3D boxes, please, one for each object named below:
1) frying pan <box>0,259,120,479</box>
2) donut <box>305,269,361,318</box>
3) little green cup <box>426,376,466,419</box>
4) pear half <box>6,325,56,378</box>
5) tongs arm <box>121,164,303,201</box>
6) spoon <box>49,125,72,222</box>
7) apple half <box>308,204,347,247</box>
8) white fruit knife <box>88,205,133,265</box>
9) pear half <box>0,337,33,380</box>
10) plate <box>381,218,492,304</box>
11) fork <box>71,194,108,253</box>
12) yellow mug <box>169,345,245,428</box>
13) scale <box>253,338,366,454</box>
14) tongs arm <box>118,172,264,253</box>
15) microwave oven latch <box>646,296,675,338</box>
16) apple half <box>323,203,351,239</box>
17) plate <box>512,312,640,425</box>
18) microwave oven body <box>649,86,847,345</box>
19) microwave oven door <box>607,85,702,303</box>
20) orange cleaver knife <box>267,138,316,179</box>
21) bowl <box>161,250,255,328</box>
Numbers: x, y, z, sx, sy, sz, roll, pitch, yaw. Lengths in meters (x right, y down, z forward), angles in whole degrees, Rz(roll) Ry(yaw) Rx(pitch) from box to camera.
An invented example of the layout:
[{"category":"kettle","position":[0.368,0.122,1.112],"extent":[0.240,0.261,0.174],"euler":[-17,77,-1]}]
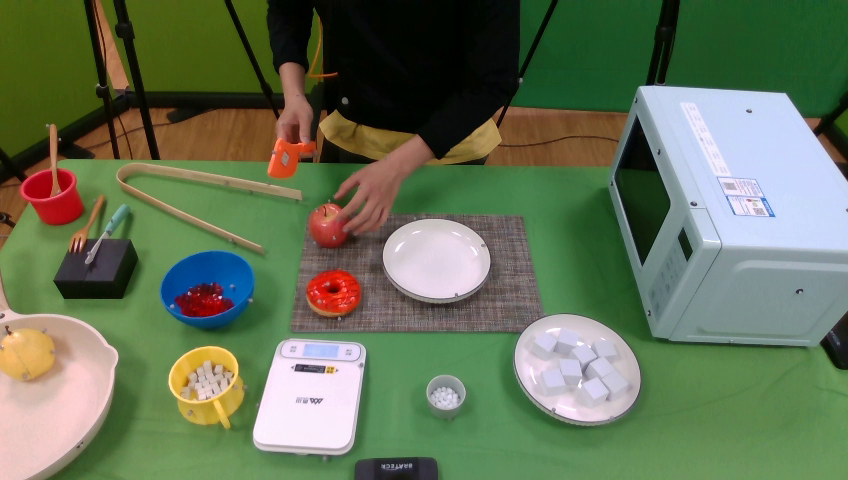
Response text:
[{"category":"frying pan","position":[-0.647,0.164,0.936],"extent":[0.307,0.103,0.485],"euler":[-19,58,-22]},{"category":"donut","position":[-0.160,0.094,1.075],"extent":[0.099,0.048,0.098],"euler":[4,45,-3]},{"category":"little green cup","position":[0.033,0.248,0.950],"extent":[0.061,0.039,0.061],"euler":[2,46,-2]},{"category":"pear half","position":[-0.608,0.158,0.935],"extent":[0.076,0.110,0.056],"euler":[31,51,20]},{"category":"tongs arm","position":[-0.444,-0.114,1.267],"extent":[0.384,0.026,0.050],"euler":[12,49,8]},{"category":"spoon","position":[-0.718,-0.131,1.189],"extent":[0.041,0.021,0.193],"euler":[-4,90,-6]},{"category":"apple half","position":[-0.193,-0.021,1.164],"extent":[0.080,0.075,0.053],"euler":[37,58,24]},{"category":"white fruit knife","position":[-0.584,-0.013,1.129],"extent":[0.016,0.027,0.206],"euler":[0,32,-5]},{"category":"pear half","position":[-0.631,0.184,0.921],"extent":[0.070,0.088,0.031],"euler":[29,49,19]},{"category":"plate","position":[0.023,0.042,1.143],"extent":[0.209,0.038,0.208],"euler":[2,46,-2]},{"category":"fork","position":[-0.634,-0.036,1.158],"extent":[0.028,0.019,0.206],"euler":[-8,31,-8]},{"category":"yellow mug","position":[-0.322,0.230,0.922],"extent":[0.100,0.064,0.130],"euler":[-24,53,-25]},{"category":"scale","position":[-0.175,0.236,0.951],"extent":[0.149,0.032,0.199],"euler":[5,45,-1]},{"category":"tongs arm","position":[-0.473,-0.056,1.210],"extent":[0.386,0.028,0.028],"euler":[23,55,18]},{"category":"microwave oven latch","position":[0.412,0.134,1.061],"extent":[0.030,0.029,0.078],"euler":[4,45,1]},{"category":"apple half","position":[-0.165,-0.041,1.185],"extent":[0.081,0.082,0.033],"euler":[35,58,27]},{"category":"plate","position":[0.246,0.213,0.999],"extent":[0.208,0.039,0.206],"euler":[2,46,-2]},{"category":"microwave oven body","position":[0.567,-0.053,1.118],"extent":[0.326,0.261,0.439],"euler":[2,45,-1]},{"category":"microwave oven door","position":[0.423,-0.094,1.140],"extent":[0.039,0.245,0.353],"euler":[2,46,-1]},{"category":"orange cleaver knife","position":[-0.243,-0.153,1.122],"extent":[0.012,0.077,0.211],"euler":[17,13,5]},{"category":"bowl","position":[-0.362,0.098,1.039],"extent":[0.151,0.077,0.150],"euler":[2,45,-2]}]
